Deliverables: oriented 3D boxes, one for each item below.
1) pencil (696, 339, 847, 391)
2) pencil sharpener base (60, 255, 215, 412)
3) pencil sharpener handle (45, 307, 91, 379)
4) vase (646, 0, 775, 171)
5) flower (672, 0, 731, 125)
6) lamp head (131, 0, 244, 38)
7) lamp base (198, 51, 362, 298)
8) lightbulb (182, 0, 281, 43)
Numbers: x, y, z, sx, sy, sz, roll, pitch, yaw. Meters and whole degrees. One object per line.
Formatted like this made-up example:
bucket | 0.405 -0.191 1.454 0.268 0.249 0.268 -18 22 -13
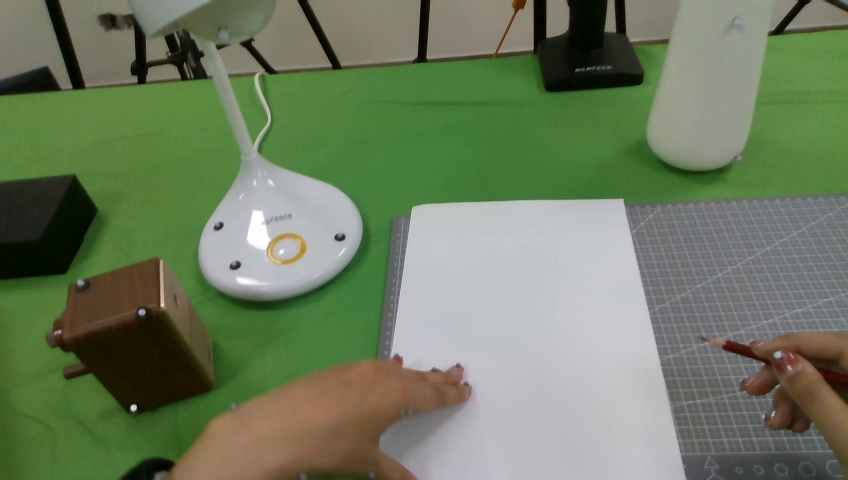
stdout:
pencil | 0.237 0.080 0.330 0.012 0.012 0.192 -35 25 -25
pencil sharpener base | -0.218 0.075 0.469 0.077 0.108 0.060 -17 46 -9
pencil sharpener handle | -0.267 0.081 0.452 0.031 0.068 0.035 -18 49 -9
vase | 0.272 -0.165 0.578 0.098 0.202 0.097 -5 44 5
flower | 0.257 -0.208 0.506 0.043 0.365 0.038 39 74 22
lamp head | -0.126 -0.184 0.319 0.112 0.123 0.111 -25 18 9
lamp base | -0.155 -0.067 0.551 0.161 0.182 0.177 -25 45 -17
lightbulb | -0.115 -0.161 0.322 0.059 0.108 0.059 -15 21 6
